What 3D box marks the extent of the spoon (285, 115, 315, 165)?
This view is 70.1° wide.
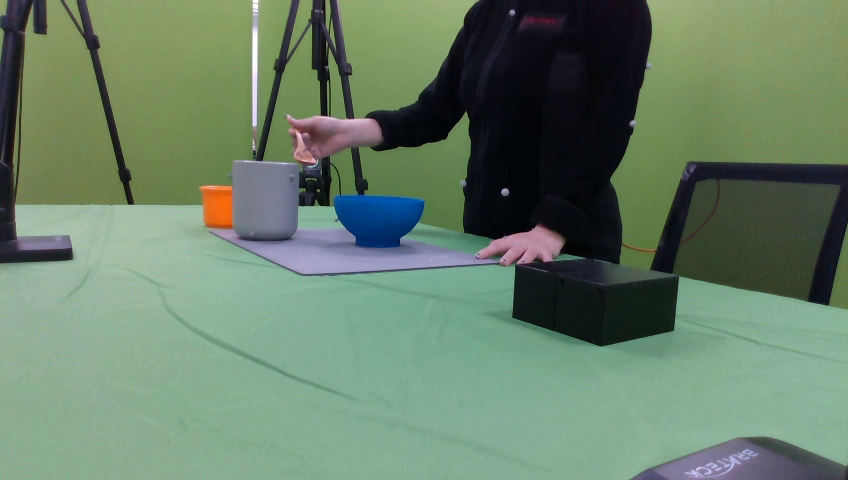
[{"bbox_3d":[-0.240,-0.192,1.143,0.042,0.021,0.193,4,38,-27],"label":"spoon"}]

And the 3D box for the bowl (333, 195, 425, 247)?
[{"bbox_3d":[-0.074,-0.031,0.987,0.151,0.077,0.151,2,7,0],"label":"bowl"}]

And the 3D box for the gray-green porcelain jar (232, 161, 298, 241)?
[{"bbox_3d":[-0.262,-0.065,0.999,0.106,0.126,0.106,3,7,0],"label":"gray-green porcelain jar"}]
